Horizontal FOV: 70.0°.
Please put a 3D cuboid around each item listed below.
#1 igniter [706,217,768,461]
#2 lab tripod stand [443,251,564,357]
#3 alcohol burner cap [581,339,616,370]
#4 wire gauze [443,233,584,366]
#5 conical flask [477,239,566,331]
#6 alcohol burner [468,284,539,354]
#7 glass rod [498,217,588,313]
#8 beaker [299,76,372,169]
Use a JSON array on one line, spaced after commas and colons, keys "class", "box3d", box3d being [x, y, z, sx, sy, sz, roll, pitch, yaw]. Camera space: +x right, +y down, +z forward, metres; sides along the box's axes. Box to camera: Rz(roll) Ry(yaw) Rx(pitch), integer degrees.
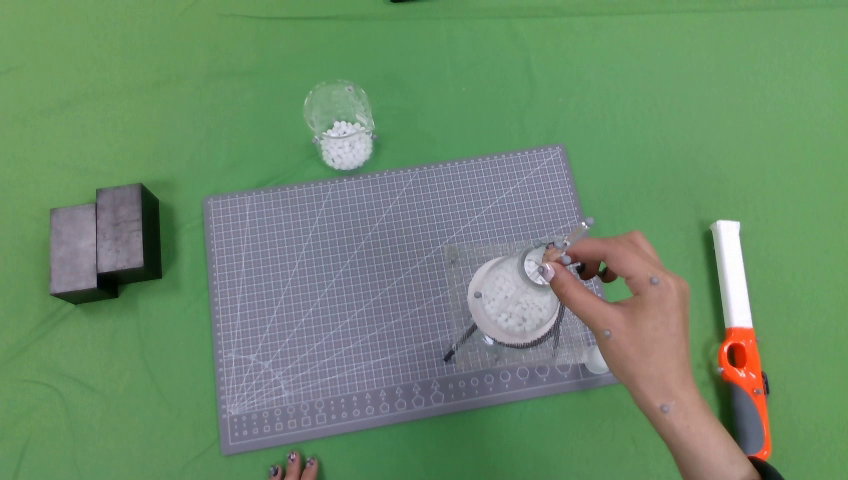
[{"class": "igniter", "box3d": [0.355, 0.106, 0.690, 0.057, 0.025, 0.275, 5, 73, -11]}, {"class": "lab tripod stand", "box3d": [0.085, 0.076, 0.633, 0.148, 0.132, 0.147, 0, 75, -1]}, {"class": "alcohol burner cap", "box3d": [0.195, 0.124, 0.669, 0.034, 0.048, 0.033, 0, 73, -1]}, {"class": "wire gauze", "box3d": [0.084, 0.055, 0.570, 0.125, 0.011, 0.121, -3, 76, -4]}, {"class": "conical flask", "box3d": [0.088, 0.033, 0.515, 0.075, 0.122, 0.075, 1, 75, -2]}, {"class": "alcohol burner", "box3d": [0.086, 0.080, 0.642, 0.078, 0.120, 0.077, 0, 73, 1]}, {"class": "glass rod", "box3d": [0.085, 0.026, 0.466, 0.008, 0.200, 0.008, 3, 67, -8]}, {"class": "beaker", "box3d": [-0.097, -0.132, 0.712, 0.084, 0.101, 0.074, 26, 74, 6]}]
